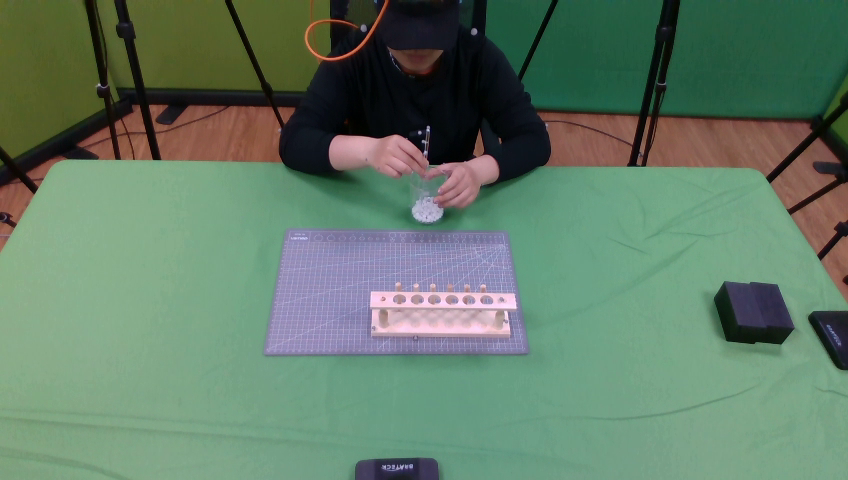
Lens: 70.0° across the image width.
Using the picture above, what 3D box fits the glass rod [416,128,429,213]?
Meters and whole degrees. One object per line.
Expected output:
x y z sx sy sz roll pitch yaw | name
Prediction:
-0.003 -0.129 1.175 0.008 0.200 0.008 5 42 -4 | glass rod

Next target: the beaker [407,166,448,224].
0.008 -0.089 1.220 0.084 0.101 0.073 -16 50 -15 | beaker

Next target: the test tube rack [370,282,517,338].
0.030 0.116 1.041 0.242 0.085 0.066 1 46 -3 | test tube rack
